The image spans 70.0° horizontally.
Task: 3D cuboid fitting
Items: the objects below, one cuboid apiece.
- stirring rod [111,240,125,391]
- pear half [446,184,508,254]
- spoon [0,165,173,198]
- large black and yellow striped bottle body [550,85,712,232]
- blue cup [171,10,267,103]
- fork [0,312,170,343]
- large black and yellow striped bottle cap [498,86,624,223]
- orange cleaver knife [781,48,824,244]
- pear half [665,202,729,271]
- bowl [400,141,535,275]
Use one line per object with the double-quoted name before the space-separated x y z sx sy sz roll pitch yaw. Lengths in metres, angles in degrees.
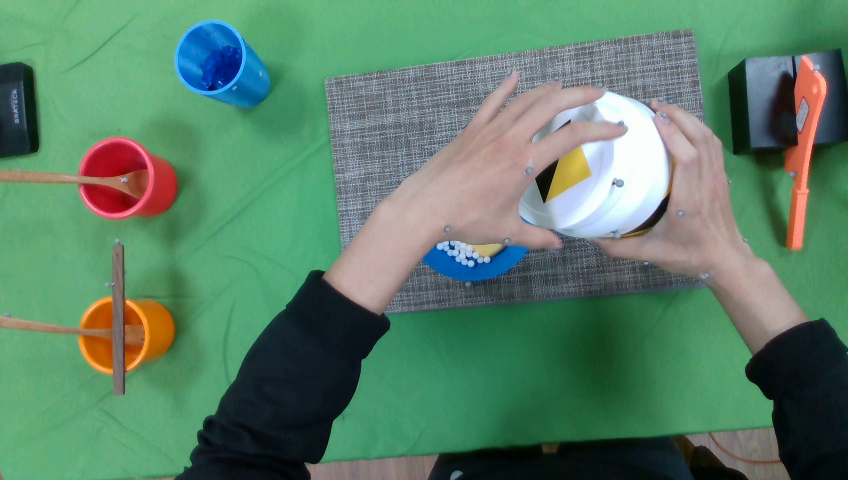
"stirring rod" -0.357 0.088 0.706 0.014 0.006 0.176 -1 89 3
"pear half" 0.057 -0.028 0.695 0.070 0.031 0.087 -32 81 3
"spoon" -0.403 -0.075 0.720 0.195 0.021 0.041 1 90 -37
"large black and yellow striped bottle body" 0.173 -0.072 0.571 0.130 0.185 0.131 2 93 46
"blue cup" -0.236 -0.206 0.727 0.092 0.100 0.092 0 89 8
"fork" -0.408 0.101 0.713 0.209 0.018 0.028 14 100 -38
"large black and yellow striped bottle cap" 0.112 -0.071 0.513 0.114 0.019 0.115 3 95 45
"orange cleaver knife" 0.410 -0.099 0.669 0.012 0.076 0.213 -4 117 11
"pear half" 0.298 -0.001 0.661 0.056 0.110 0.076 -26 82 6
"bowl" 0.052 -0.034 0.702 0.151 0.077 0.151 0 89 6
